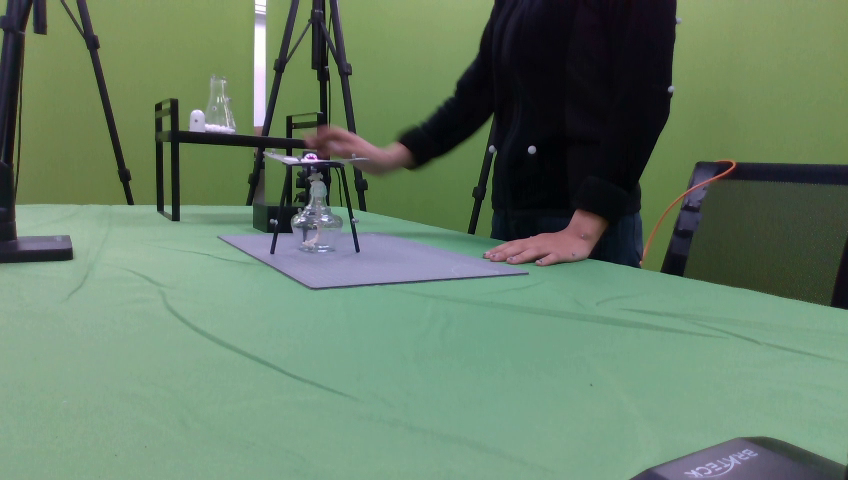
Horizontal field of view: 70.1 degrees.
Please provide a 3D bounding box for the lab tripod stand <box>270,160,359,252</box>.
[{"bbox_3d":[-0.167,-0.051,0.892,0.148,0.131,0.148,4,9,0],"label":"lab tripod stand"}]

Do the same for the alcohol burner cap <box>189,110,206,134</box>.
[{"bbox_3d":[-0.464,-0.242,1.240,0.034,0.048,0.034,3,7,0],"label":"alcohol burner cap"}]

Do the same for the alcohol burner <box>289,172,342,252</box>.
[{"bbox_3d":[-0.160,-0.042,0.899,0.078,0.119,0.078,4,9,0],"label":"alcohol burner"}]

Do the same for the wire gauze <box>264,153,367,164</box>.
[{"bbox_3d":[-0.160,-0.118,0.888,0.122,0.011,0.124,-3,10,-32],"label":"wire gauze"}]

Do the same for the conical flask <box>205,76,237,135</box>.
[{"bbox_3d":[-0.443,-0.290,1.309,0.075,0.122,0.075,3,7,0],"label":"conical flask"}]
